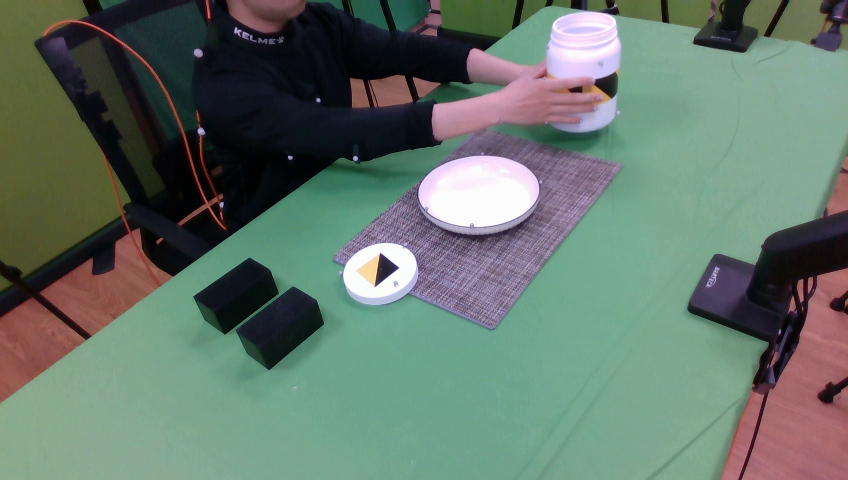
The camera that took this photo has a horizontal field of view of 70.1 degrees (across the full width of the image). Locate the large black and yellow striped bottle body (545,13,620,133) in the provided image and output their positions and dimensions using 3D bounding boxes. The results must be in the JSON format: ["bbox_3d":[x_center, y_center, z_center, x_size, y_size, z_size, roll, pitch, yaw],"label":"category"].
[{"bbox_3d":[0.289,-0.306,1.109,0.131,0.185,0.130,-6,39,5],"label":"large black and yellow striped bottle body"}]

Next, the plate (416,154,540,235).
[{"bbox_3d":[0.090,-0.074,1.025,0.207,0.039,0.206,-4,41,4],"label":"plate"}]

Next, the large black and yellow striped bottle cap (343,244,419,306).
[{"bbox_3d":[-0.066,0.051,0.918,0.115,0.019,0.114,-6,43,6],"label":"large black and yellow striped bottle cap"}]
